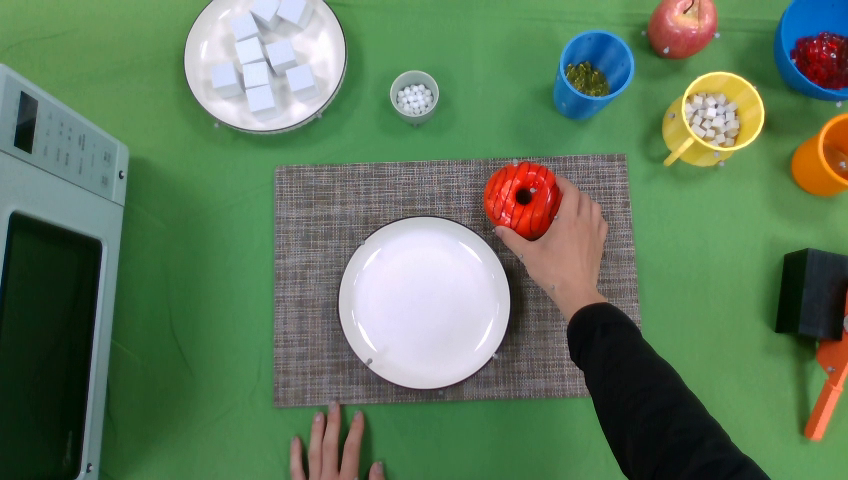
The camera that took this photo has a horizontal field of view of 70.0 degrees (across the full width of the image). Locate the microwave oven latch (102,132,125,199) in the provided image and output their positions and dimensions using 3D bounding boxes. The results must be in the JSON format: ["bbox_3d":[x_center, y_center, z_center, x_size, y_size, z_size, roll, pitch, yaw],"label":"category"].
[{"bbox_3d":[-0.388,-0.092,0.745,0.030,0.029,0.079,3,82,1],"label":"microwave oven latch"}]

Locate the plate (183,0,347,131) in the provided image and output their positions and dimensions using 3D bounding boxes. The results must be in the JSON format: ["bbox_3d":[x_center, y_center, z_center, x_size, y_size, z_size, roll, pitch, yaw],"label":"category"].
[{"bbox_3d":[-0.201,-0.237,0.784,0.208,0.039,0.207,0,81,1],"label":"plate"}]

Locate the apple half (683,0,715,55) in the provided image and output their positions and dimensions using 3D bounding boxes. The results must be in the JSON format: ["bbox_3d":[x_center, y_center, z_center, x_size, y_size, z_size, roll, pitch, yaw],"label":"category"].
[{"bbox_3d":[0.346,-0.273,0.765,0.033,0.081,0.081,4,81,5],"label":"apple half"}]

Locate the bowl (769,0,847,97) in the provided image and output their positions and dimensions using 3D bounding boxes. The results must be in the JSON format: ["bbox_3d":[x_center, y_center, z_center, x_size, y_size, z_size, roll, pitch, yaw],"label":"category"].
[{"bbox_3d":[0.497,-0.240,0.757,0.151,0.077,0.151,0,82,1],"label":"bowl"}]

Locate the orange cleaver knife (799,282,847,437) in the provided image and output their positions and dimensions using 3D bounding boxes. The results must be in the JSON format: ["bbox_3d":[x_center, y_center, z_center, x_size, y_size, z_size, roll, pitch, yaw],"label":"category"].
[{"bbox_3d":[0.473,0.127,0.698,0.012,0.077,0.212,13,111,5],"label":"orange cleaver knife"}]

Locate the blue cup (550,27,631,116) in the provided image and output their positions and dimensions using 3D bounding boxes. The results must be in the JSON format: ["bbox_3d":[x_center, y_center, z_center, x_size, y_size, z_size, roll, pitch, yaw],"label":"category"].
[{"bbox_3d":[0.194,-0.197,0.742,0.092,0.100,0.092,0,82,0],"label":"blue cup"}]

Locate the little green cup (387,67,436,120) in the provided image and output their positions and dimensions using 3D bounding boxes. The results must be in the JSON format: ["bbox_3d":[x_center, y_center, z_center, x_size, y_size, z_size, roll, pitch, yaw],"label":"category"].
[{"bbox_3d":[-0.015,-0.185,0.774,0.061,0.039,0.061,0,81,1],"label":"little green cup"}]

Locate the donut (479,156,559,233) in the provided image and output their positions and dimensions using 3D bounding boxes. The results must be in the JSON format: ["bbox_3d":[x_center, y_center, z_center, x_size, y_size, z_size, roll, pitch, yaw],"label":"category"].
[{"bbox_3d":[0.117,-0.055,0.744,0.099,0.048,0.098,0,79,0],"label":"donut"}]

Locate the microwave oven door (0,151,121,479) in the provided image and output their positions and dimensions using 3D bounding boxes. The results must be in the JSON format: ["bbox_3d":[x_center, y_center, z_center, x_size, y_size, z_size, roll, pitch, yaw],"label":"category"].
[{"bbox_3d":[-0.397,0.108,0.611,0.039,0.244,0.354,1,81,1],"label":"microwave oven door"}]

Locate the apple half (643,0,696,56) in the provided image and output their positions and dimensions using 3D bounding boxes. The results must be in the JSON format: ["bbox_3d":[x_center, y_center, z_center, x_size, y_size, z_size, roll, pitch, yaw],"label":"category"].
[{"bbox_3d":[0.307,-0.275,0.768,0.053,0.075,0.080,3,84,5],"label":"apple half"}]

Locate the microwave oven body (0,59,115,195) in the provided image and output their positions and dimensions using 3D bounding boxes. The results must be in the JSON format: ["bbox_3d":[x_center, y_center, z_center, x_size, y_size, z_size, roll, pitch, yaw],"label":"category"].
[{"bbox_3d":[-0.541,0.064,0.624,0.326,0.261,0.440,1,82,0],"label":"microwave oven body"}]

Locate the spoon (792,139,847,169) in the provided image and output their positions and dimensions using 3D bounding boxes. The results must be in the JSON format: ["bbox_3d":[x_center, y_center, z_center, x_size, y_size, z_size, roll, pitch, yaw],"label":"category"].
[{"bbox_3d":[0.521,-0.080,0.697,0.041,0.191,0.022,-44,127,-6],"label":"spoon"}]

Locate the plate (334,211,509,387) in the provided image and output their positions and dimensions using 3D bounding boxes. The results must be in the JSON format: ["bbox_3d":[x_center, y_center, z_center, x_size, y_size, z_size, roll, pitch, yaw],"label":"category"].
[{"bbox_3d":[-0.003,0.069,0.731,0.209,0.038,0.208,0,81,1],"label":"plate"}]

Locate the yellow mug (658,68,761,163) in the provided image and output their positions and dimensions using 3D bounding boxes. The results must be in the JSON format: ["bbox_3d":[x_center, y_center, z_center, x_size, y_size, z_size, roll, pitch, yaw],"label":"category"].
[{"bbox_3d":[0.340,-0.142,0.750,0.131,0.064,0.099,-44,83,-4],"label":"yellow mug"}]
